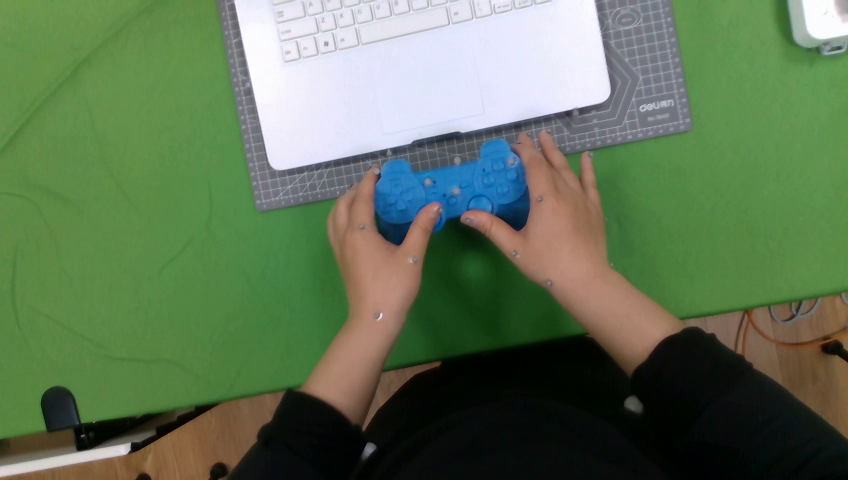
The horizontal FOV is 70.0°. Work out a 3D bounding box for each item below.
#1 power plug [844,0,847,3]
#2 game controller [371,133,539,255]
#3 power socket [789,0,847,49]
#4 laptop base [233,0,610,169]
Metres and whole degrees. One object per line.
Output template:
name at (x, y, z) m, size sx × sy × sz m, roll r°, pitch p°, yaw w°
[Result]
power plug at (0.409, -0.225, 0.538) m, size 0.072 × 0.052 × 0.035 m, roll 1°, pitch 92°, yaw 2°
game controller at (0.026, -0.041, 0.562) m, size 0.155 × 0.051 × 0.097 m, roll -11°, pitch 101°, yaw 5°
power socket at (0.370, -0.294, 0.558) m, size 0.072 × 0.032 × 0.226 m, roll -9°, pitch 91°, yaw 7°
laptop base at (-0.011, -0.221, 0.609) m, size 0.354 × 0.023 × 0.235 m, roll -11°, pitch 94°, yaw 6°
